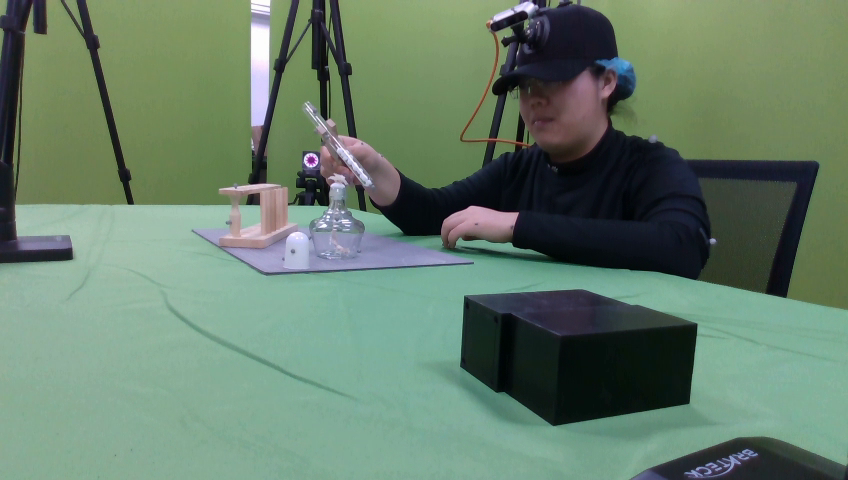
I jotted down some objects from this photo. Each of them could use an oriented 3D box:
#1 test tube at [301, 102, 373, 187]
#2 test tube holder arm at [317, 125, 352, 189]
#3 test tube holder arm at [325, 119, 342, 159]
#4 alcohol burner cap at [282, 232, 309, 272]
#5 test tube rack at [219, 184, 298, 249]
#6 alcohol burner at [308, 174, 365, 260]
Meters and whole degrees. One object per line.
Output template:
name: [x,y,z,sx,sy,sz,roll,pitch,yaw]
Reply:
test tube: [-0.119,-0.131,0.826,0.017,0.150,0.017,-38,-10,-8]
test tube holder arm: [-0.129,-0.119,0.892,0.013,0.015,0.178,-34,-19,-8]
test tube holder arm: [-0.126,-0.139,0.851,0.010,0.015,0.088,-32,-19,-15]
alcohol burner cap: [-0.157,0.014,0.740,0.034,0.048,0.034,3,6,0]
test tube rack: [-0.266,-0.046,1.001,0.067,0.085,0.242,3,7,0]
alcohol burner: [-0.121,-0.033,0.841,0.078,0.119,0.078,3,5,0]
